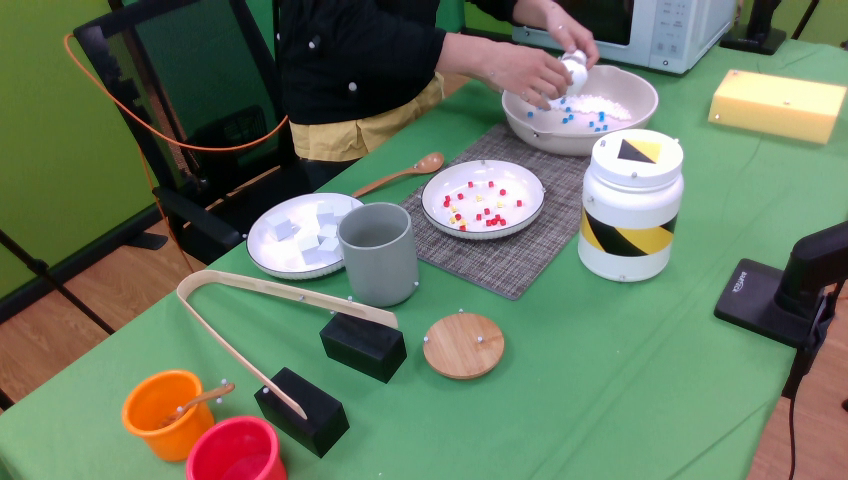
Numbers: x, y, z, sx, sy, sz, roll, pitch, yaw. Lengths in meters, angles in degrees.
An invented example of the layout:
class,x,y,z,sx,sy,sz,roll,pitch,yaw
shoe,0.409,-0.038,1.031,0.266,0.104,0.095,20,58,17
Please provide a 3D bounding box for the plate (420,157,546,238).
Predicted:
class,x,y,z,sx,sy,sz,roll,pitch,yaw
plate,0.099,-0.067,1.017,0.209,0.038,0.208,-4,40,4

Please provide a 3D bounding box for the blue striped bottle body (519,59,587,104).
class,x,y,z,sx,sy,sz,roll,pitch,yaw
blue striped bottle body,0.230,-0.280,1.059,0.121,0.063,0.062,-20,41,-30

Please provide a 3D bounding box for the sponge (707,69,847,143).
class,x,y,z,sx,sy,sz,roll,pitch,yaw
sponge,0.663,-0.256,1.141,0.205,0.061,0.118,18,47,28

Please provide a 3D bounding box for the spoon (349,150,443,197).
class,x,y,z,sx,sy,sz,roll,pitch,yaw
spoon,-0.051,-0.123,1.120,0.194,0.022,0.041,-23,61,-18

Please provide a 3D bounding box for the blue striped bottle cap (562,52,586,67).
class,x,y,z,sx,sy,sz,roll,pitch,yaw
blue striped bottle cap,0.274,-0.327,1.108,0.044,0.020,0.044,17,2,0

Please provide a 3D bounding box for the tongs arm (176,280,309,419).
class,x,y,z,sx,sy,sz,roll,pitch,yaw
tongs arm,-0.254,0.133,0.801,0.028,0.028,0.384,-41,41,-23

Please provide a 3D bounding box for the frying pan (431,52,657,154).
class,x,y,z,sx,sy,sz,roll,pitch,yaw
frying pan,0.216,-0.302,1.224,0.484,0.103,0.308,29,50,24

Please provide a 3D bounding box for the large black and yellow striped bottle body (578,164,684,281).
class,x,y,z,sx,sy,sz,roll,pitch,yaw
large black and yellow striped bottle body,0.292,-0.046,0.859,0.131,0.185,0.130,-4,41,4

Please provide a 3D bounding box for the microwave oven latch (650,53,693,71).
class,x,y,z,sx,sy,sz,roll,pitch,yaw
microwave oven latch,0.531,-0.386,1.301,0.078,0.029,0.030,26,51,33

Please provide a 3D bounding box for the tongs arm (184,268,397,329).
class,x,y,z,sx,sy,sz,roll,pitch,yaw
tongs arm,-0.202,0.084,0.848,0.382,0.027,0.051,11,45,35

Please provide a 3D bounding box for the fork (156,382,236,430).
class,x,y,z,sx,sy,sz,roll,pitch,yaw
fork,-0.262,0.189,0.690,0.018,0.206,0.028,49,43,-7

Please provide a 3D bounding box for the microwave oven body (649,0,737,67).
class,x,y,z,sx,sy,sz,roll,pitch,yaw
microwave oven body,0.475,-0.602,1.411,0.438,0.261,0.327,23,50,32

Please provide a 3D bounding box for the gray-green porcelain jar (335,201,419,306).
class,x,y,z,sx,sy,sz,roll,pitch,yaw
gray-green porcelain jar,-0.064,0.024,0.872,0.106,0.127,0.105,-4,41,4

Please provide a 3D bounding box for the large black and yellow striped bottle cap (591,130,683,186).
class,x,y,z,sx,sy,sz,roll,pitch,yaw
large black and yellow striped bottle cap,0.282,-0.111,0.803,0.115,0.019,0.114,-3,41,3

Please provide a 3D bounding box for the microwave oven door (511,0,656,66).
class,x,y,z,sx,sy,sz,roll,pitch,yaw
microwave oven door,0.351,-0.540,1.349,0.353,0.245,0.039,24,50,31

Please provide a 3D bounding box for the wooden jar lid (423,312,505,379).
class,x,y,z,sx,sy,sz,roll,pitch,yaw
wooden jar lid,0.053,0.142,0.800,0.108,0.021,0.108,-5,39,4

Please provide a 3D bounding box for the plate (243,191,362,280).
class,x,y,z,sx,sy,sz,roll,pitch,yaw
plate,-0.188,-0.005,0.992,0.207,0.039,0.206,-4,40,3
